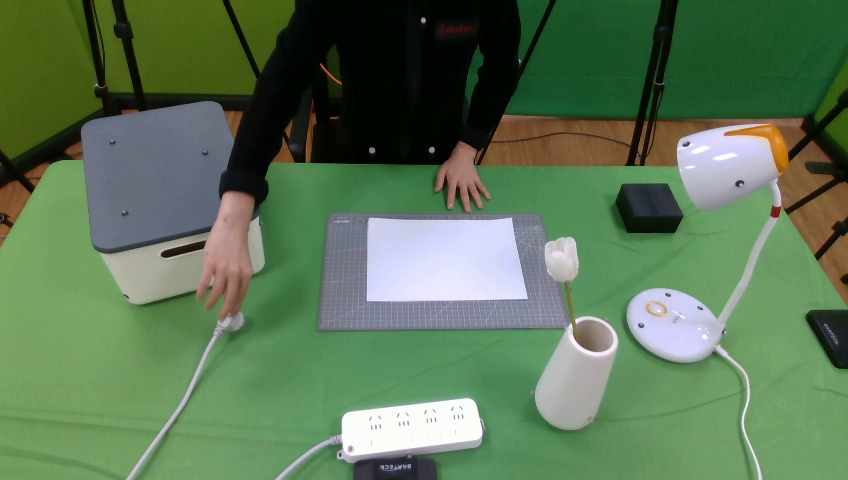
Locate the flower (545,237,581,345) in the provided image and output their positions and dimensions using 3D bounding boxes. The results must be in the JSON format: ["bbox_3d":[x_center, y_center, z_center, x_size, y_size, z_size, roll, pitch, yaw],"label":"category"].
[{"bbox_3d":[0.213,0.137,0.846,0.038,0.364,0.044,21,55,39],"label":"flower"}]

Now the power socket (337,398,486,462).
[{"bbox_3d":[-0.017,0.286,0.914,0.227,0.033,0.071,-4,46,-8],"label":"power socket"}]

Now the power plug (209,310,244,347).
[{"bbox_3d":[-0.334,0.148,1.019,0.035,0.053,0.072,36,75,24],"label":"power plug"}]

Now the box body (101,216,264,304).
[{"bbox_3d":[-0.465,-0.077,1.137,0.254,0.161,0.361,-16,50,-19],"label":"box body"}]

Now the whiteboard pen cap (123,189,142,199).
[{"bbox_3d":[-0.591,-0.093,1.231,0.033,0.018,0.018,-13,49,-18],"label":"whiteboard pen cap"}]

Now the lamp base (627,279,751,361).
[{"bbox_3d":[0.460,0.100,1.027,0.178,0.181,0.160,27,51,17],"label":"lamp base"}]

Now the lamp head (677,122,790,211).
[{"bbox_3d":[0.424,-0.104,0.819,0.122,0.113,0.112,-13,33,40],"label":"lamp head"}]

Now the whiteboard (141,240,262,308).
[{"bbox_3d":[-0.464,-0.059,1.137,0.217,0.144,0.303,-19,51,-17],"label":"whiteboard"}]

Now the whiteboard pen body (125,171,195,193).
[{"bbox_3d":[-0.553,-0.119,1.270,0.141,0.017,0.017,-18,50,-15],"label":"whiteboard pen body"}]

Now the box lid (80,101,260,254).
[{"bbox_3d":[-0.461,-0.127,1.082,0.264,0.015,0.369,-15,49,-19],"label":"box lid"}]

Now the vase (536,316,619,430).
[{"bbox_3d":[0.229,0.200,0.901,0.098,0.201,0.097,3,46,-3],"label":"vase"}]
